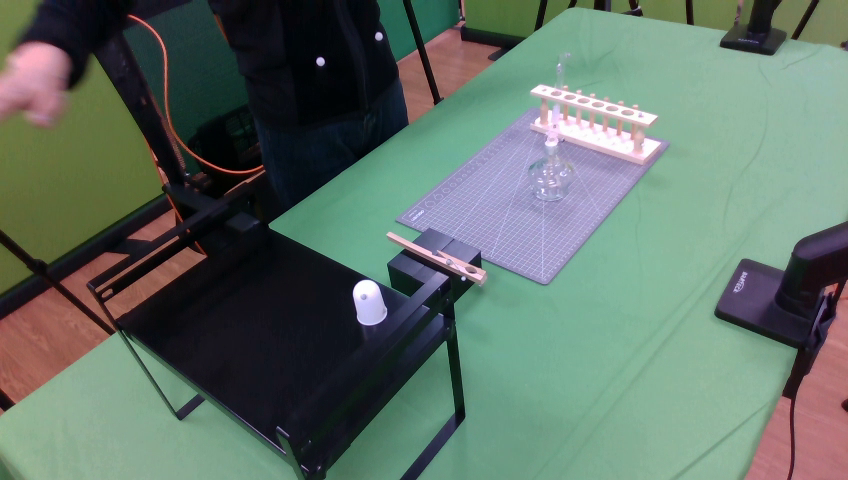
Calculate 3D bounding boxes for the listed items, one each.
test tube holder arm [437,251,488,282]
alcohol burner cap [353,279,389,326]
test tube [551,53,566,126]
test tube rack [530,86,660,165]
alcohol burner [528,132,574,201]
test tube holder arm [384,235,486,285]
[{"bbox_3d":[0.051,0.037,0.852,0.087,0.015,0.010,22,53,31],"label":"test tube holder arm"},{"bbox_3d":[-0.055,0.061,0.616,0.034,0.048,0.033,-4,42,4],"label":"alcohol burner cap"},{"bbox_3d":[0.253,-0.280,1.138,0.017,0.151,0.017,-3,44,3],"label":"test tube"},{"bbox_3d":[0.320,-0.226,1.140,0.240,0.085,0.067,27,51,34],"label":"test tube rack"},{"bbox_3d":[0.214,-0.126,1.016,0.078,0.119,0.077,-5,38,5],"label":"alcohol burner"},{"bbox_3d":[0.012,0.027,0.871,0.177,0.015,0.013,21,53,30],"label":"test tube holder arm"}]
